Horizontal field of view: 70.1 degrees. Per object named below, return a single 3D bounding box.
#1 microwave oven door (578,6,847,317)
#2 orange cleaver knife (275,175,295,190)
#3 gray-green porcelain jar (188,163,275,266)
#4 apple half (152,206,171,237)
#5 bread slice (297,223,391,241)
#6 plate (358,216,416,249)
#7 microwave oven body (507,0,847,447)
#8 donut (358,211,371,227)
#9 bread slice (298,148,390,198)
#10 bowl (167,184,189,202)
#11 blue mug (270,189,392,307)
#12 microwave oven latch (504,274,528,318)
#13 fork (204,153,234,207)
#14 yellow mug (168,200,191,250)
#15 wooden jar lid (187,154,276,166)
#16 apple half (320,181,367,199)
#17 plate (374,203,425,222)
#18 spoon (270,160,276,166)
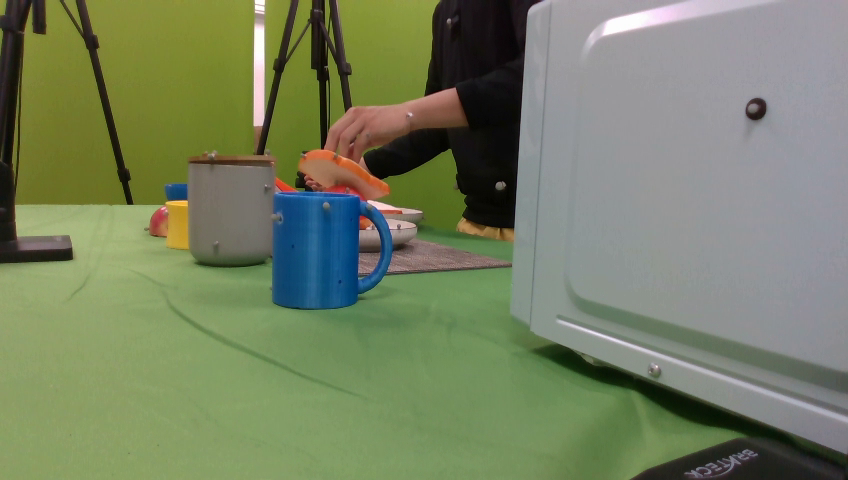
[{"bbox_3d":[0.294,-0.067,0.570,0.358,0.243,0.039,-3,9,-31],"label":"microwave oven door"},{"bbox_3d":[-0.283,-0.087,1.343,0.212,0.077,0.012,24,-16,-41],"label":"orange cleaver knife"},{"bbox_3d":[-0.246,-0.034,0.780,0.106,0.126,0.106,2,7,0],"label":"gray-green porcelain jar"},{"bbox_3d":[-0.415,-0.034,1.017,0.081,0.053,0.074,1,10,-8],"label":"apple half"},{"bbox_3d":[-0.121,-0.014,0.970,0.106,0.018,0.135,9,9,41],"label":"bread slice"},{"bbox_3d":[-0.117,-0.014,0.967,0.208,0.039,0.207,2,7,0],"label":"plate"},{"bbox_3d":[0.331,-0.042,0.425,0.444,0.260,0.324,-2,8,-31],"label":"microwave oven body"},{"bbox_3d":[-0.130,-0.041,0.956,0.099,0.048,0.099,2,7,0],"label":"donut"},{"bbox_3d":[-0.130,-0.104,0.954,0.132,0.019,0.104,30,-26,-33],"label":"bread slice"},{"bbox_3d":[-0.408,-0.064,1.154,0.151,0.077,0.151,2,8,0],"label":"bowl"},{"bbox_3d":[-0.089,0.005,0.588,0.117,0.106,0.082,1,7,-10],"label":"blue mug"},{"bbox_3d":[0.100,0.041,0.471,0.079,0.029,0.030,-1,8,-28],"label":"microwave oven latch"},{"bbox_3d":[-0.480,-0.135,1.411,0.028,0.018,0.207,0,-34,-1],"label":"fork"},{"bbox_3d":[-0.320,-0.022,0.904,0.130,0.064,0.100,8,10,36],"label":"yellow mug"},{"bbox_3d":[-0.244,-0.097,0.771,0.108,0.020,0.108,-1,7,0],"label":"wooden jar lid"},{"bbox_3d":[-0.128,-0.076,0.949,0.081,0.033,0.081,2,13,0],"label":"apple half"},{"bbox_3d":[-0.102,-0.053,1.299,0.209,0.038,0.209,2,8,0],"label":"plate"},{"bbox_3d":[-0.396,-0.150,1.548,0.042,0.193,0.021,2,-37,-4],"label":"spoon"}]
